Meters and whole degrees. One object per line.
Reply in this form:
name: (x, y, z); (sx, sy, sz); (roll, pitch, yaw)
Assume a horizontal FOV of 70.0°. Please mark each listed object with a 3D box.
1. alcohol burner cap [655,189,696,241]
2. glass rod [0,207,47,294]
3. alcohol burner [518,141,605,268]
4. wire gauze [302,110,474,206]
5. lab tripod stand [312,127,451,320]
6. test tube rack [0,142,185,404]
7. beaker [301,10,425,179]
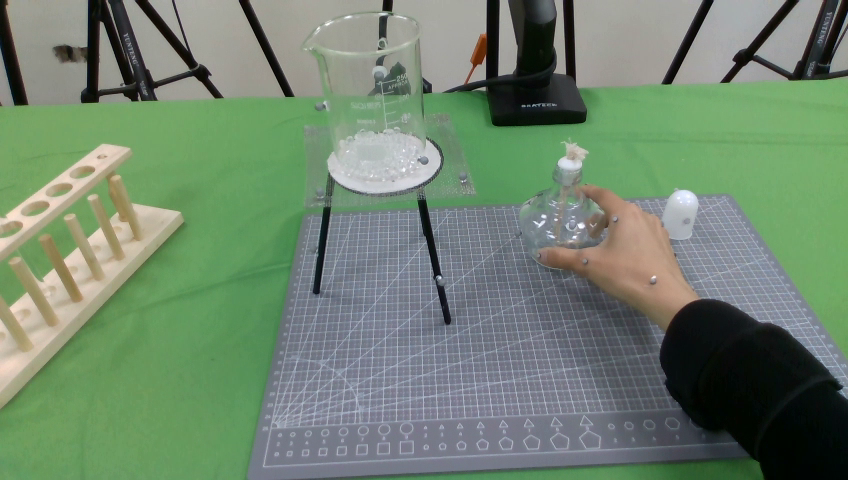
alcohol burner cap: (0.244, -0.027, 0.583); (0.034, 0.048, 0.033); (-1, 40, 2)
glass rod: (-0.349, -0.036, 0.486); (0.008, 0.201, 0.008); (-5, 34, 3)
alcohol burner: (0.124, -0.034, 0.541); (0.078, 0.120, 0.077); (-1, 39, 2)
wire gauze: (-0.033, -0.064, 0.466); (0.125, 0.011, 0.120); (-8, 38, -2)
lab tripod stand: (-0.030, -0.015, 0.509); (0.148, 0.133, 0.147); (-2, 42, 2)
test tube rack: (-0.319, 0.015, 0.528); (0.066, 0.086, 0.241); (11, 42, 14)
beaker: (-0.038, -0.101, 0.434); (0.084, 0.101, 0.073); (-7, 40, -4)
